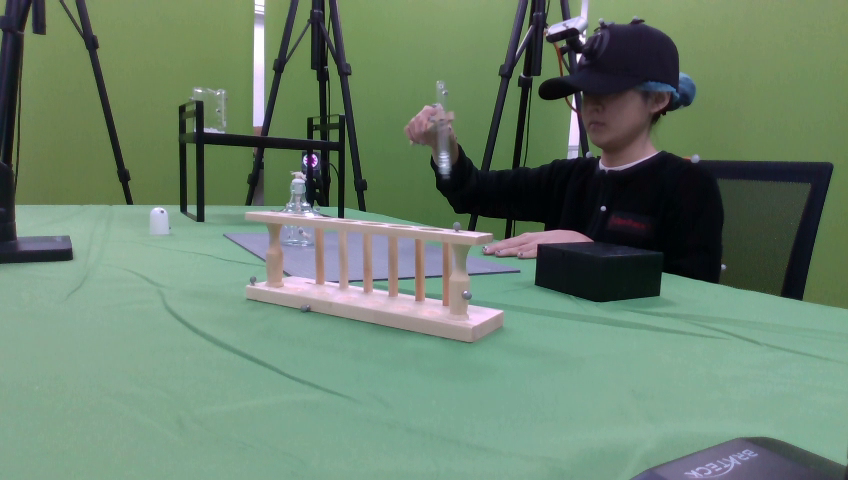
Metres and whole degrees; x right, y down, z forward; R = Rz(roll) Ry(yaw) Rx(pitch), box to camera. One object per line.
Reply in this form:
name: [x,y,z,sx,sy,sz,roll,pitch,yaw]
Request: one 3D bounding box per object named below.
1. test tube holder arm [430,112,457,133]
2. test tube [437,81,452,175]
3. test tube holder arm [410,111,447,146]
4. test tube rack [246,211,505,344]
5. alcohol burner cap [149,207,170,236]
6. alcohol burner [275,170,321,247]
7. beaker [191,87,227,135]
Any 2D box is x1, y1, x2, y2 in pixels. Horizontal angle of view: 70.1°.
test tube holder arm: [0.027,-0.188,0.973,0.010,0.015,0.087,1,-5,-27]
test tube: [0.032,-0.176,0.949,0.017,0.150,0.017,-4,-6,0]
test tube holder arm: [0.005,-0.184,1.013,0.013,0.015,0.178,0,-5,-19]
test tube rack: [-0.049,0.025,0.547,0.241,0.085,0.067,7,8,29]
alcohol burner cap: [-0.445,-0.032,1.019,0.034,0.048,0.034,4,9,0]
alcohol burner: [-0.199,-0.050,0.948,0.078,0.119,0.078,1,8,0]
beaker: [-0.476,-0.284,1.345,0.074,0.100,0.083,-3,10,-37]
